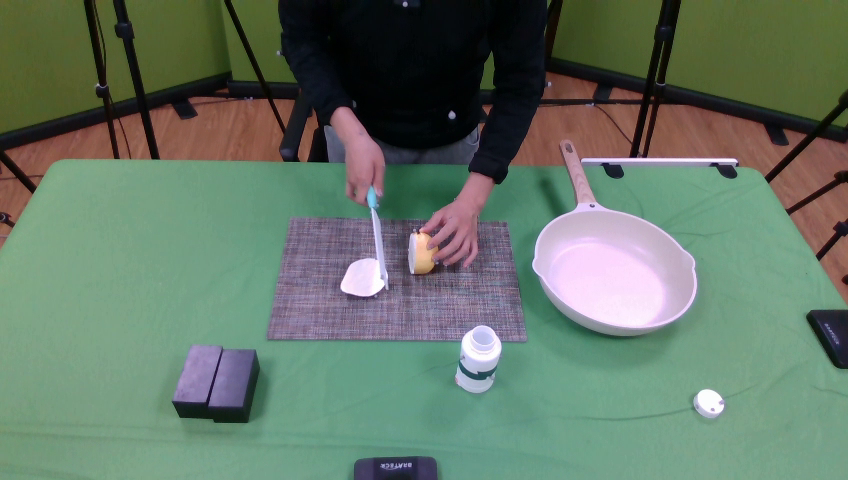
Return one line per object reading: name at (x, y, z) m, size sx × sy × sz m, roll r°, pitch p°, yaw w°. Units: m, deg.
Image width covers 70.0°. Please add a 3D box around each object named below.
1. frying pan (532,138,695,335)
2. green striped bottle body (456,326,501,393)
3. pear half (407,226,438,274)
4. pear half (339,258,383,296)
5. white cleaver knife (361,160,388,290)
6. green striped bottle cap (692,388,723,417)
frying pan at (0.336, -0.024, 1.190) m, size 0.307 × 0.103 × 0.484 m, roll -2°, pitch 55°, yaw -7°
green striped bottle body at (0.086, 0.185, 0.959) m, size 0.063 × 0.120 × 0.063 m, roll 2°, pitch 46°, yaw -2°
pear half at (-0.001, 0.012, 1.121) m, size 0.056 × 0.110 × 0.076 m, roll -8°, pitch 52°, yaw -13°
pear half at (-0.113, 0.073, 1.105) m, size 0.088 × 0.031 × 0.070 m, roll -26°, pitch 70°, yaw -9°
white cleaver knife at (-0.092, -0.036, 1.109) m, size 0.021 × 0.066 × 0.284 m, roll -12°, pitch 53°, yaw 4°
green striped bottle cap at (0.460, 0.263, 0.984) m, size 0.044 × 0.020 × 0.044 m, roll 3°, pitch 47°, yaw -3°
